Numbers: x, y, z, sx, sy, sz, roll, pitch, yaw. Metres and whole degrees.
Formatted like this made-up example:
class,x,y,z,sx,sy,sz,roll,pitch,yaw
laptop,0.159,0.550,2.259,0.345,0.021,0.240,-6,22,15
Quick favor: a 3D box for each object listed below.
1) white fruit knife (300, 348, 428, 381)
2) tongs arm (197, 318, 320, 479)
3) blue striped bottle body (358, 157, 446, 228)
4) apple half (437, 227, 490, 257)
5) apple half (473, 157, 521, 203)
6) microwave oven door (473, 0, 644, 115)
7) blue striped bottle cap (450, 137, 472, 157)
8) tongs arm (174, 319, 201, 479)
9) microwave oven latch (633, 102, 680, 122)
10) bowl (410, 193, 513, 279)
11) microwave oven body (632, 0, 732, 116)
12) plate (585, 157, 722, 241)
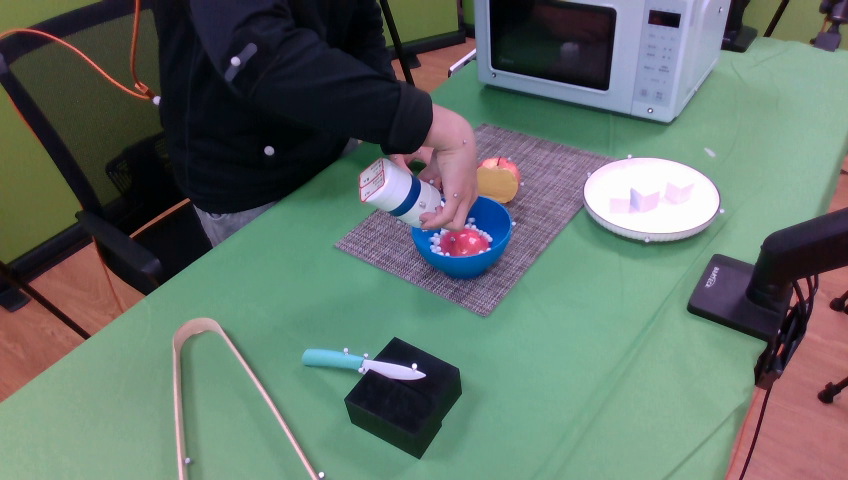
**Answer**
class,x,y,z,sx,sy,sz,roll,pitch,yaw
white fruit knife,-0.080,0.154,0.748,0.206,0.027,0.016,1,20,34
tongs arm,-0.199,0.207,0.751,0.028,0.028,0.384,-31,45,-22
blue striped bottle body,-0.024,-0.058,0.817,0.063,0.122,0.063,-28,49,37
apple half,0.056,0.001,0.901,0.081,0.033,0.081,-2,41,3
apple half,0.128,-0.107,1.030,0.080,0.075,0.053,5,38,20
microwave oven door,0.257,-0.396,1.199,0.353,0.245,0.039,21,48,29
blue striped bottle cap,0.071,-0.180,1.168,0.044,0.021,0.044,-4,42,4
tongs arm,-0.272,0.234,0.723,0.051,0.026,0.381,-18,40,-15
microwave oven latch,0.444,-0.249,1.157,0.078,0.029,0.030,21,49,30
bowl,0.058,0.005,0.905,0.151,0.077,0.150,-4,40,4
microwave oven body,0.377,-0.463,1.267,0.438,0.261,0.327,21,48,30
plate,0.367,-0.063,0.979,0.207,0.039,0.206,-4,40,4
